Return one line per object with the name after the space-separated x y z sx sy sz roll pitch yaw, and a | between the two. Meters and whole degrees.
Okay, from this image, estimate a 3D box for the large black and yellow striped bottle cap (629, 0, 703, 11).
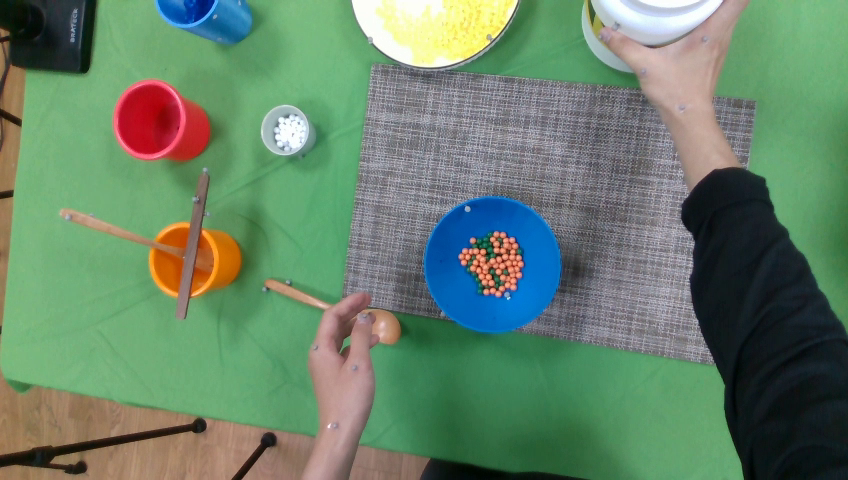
0.216 -0.260 0.529 0.115 0.019 0.115 0 90 12 | large black and yellow striped bottle cap

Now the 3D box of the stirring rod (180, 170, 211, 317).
-0.271 0.005 0.718 0.014 0.006 0.176 10 93 11 | stirring rod

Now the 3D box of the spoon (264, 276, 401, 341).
-0.117 0.080 0.759 0.193 0.021 0.042 19 108 9 | spoon

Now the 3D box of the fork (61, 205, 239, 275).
-0.323 0.000 0.730 0.209 0.018 0.028 24 98 -35 | fork

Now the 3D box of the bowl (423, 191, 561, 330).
0.079 0.023 0.692 0.151 0.077 0.151 0 91 10 | bowl

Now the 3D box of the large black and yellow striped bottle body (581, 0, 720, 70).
0.231 -0.260 0.611 0.130 0.184 0.130 0 89 10 | large black and yellow striped bottle body

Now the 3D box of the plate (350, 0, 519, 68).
0.014 -0.307 0.723 0.209 0.038 0.209 0 91 10 | plate

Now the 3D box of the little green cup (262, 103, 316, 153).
-0.166 -0.137 0.756 0.061 0.039 0.061 0 91 11 | little green cup

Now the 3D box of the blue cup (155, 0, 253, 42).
-0.259 -0.287 0.738 0.092 0.100 0.092 0 91 12 | blue cup
